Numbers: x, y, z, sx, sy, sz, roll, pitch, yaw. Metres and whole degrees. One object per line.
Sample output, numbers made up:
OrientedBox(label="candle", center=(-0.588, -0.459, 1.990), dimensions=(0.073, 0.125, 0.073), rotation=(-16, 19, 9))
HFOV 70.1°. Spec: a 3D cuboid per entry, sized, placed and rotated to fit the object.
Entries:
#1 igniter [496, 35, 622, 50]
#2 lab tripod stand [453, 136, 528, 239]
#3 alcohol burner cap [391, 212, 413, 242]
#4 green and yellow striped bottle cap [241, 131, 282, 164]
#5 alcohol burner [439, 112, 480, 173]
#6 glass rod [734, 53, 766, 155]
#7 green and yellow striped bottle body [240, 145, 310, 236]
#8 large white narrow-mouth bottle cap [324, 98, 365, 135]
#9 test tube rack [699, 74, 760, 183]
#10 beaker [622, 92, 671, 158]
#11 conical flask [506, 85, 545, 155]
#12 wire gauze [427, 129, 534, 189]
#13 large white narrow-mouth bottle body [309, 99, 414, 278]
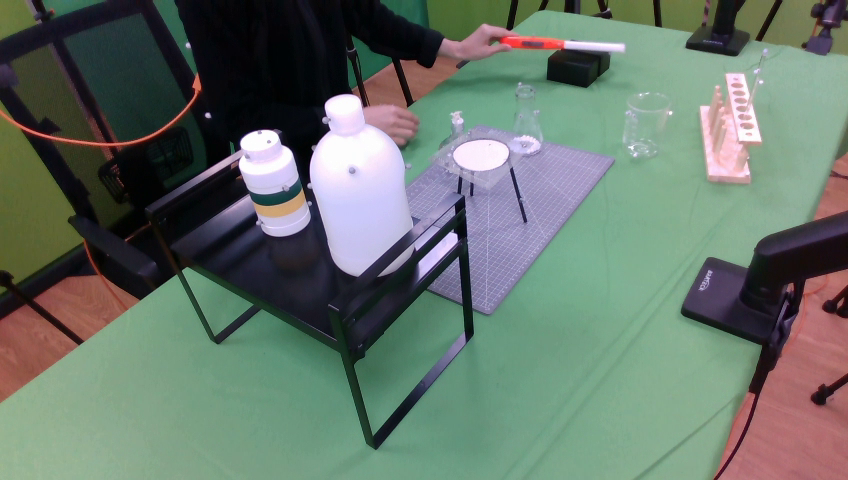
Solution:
OrientedBox(label="igniter", center=(0.294, -0.436, 1.336), dimensions=(0.275, 0.025, 0.057), rotation=(7, 21, 15))
OrientedBox(label="lab tripod stand", center=(0.094, -0.086, 0.974), dimensions=(0.148, 0.132, 0.147), rotation=(-4, 43, 4))
OrientedBox(label="alcohol burner cap", center=(-0.038, -0.023, 0.989), dimensions=(0.034, 0.048, 0.033), rotation=(-5, 40, 4))
OrientedBox(label="green and yellow striped bottle cap", center=(-0.187, -0.107, 0.695), dimensions=(0.045, 0.020, 0.045), rotation=(-3, 39, 3))
OrientedBox(label="alcohol burner", center=(0.064, -0.183, 1.107), dimensions=(0.078, 0.119, 0.077), rotation=(-4, 43, 4))
OrientedBox(label="glass rod", center=(0.540, -0.219, 1.006), dimensions=(0.008, 0.201, 0.008), rotation=(-5, 45, 6))
OrientedBox(label="green and yellow striped bottle body", center=(-0.181, -0.068, 0.729), dimensions=(0.063, 0.120, 0.063), rotation=(-4, 40, 4))
OrientedBox(label="large white narrow-mouth bottle cap", center=(-0.076, -0.120, 0.585), dimensions=(0.038, 0.024, 0.037), rotation=(-3, 42, 3))
OrientedBox(label="test tube rack", center=(0.547, -0.208, 1.095), dimensions=(0.066, 0.085, 0.242), rotation=(6, 42, 16))
OrientedBox(label="beaker", center=(0.402, -0.210, 1.106), dimensions=(0.074, 0.101, 0.083), rotation=(-9, 40, -2))
OrientedBox(label="conical flask", center=(0.190, -0.227, 1.134), dimensions=(0.075, 0.122, 0.075), rotation=(-4, 41, 4))
OrientedBox(label="wire gauze", center=(0.086, -0.131, 0.923), dimensions=(0.124, 0.011, 0.122), rotation=(26, 52, 33))
OrientedBox(label="large white narrow-mouth bottle body", center=(-0.068, -0.057, 0.644), dimensions=(0.102, 0.195, 0.101), rotation=(-4, 42, 4))
